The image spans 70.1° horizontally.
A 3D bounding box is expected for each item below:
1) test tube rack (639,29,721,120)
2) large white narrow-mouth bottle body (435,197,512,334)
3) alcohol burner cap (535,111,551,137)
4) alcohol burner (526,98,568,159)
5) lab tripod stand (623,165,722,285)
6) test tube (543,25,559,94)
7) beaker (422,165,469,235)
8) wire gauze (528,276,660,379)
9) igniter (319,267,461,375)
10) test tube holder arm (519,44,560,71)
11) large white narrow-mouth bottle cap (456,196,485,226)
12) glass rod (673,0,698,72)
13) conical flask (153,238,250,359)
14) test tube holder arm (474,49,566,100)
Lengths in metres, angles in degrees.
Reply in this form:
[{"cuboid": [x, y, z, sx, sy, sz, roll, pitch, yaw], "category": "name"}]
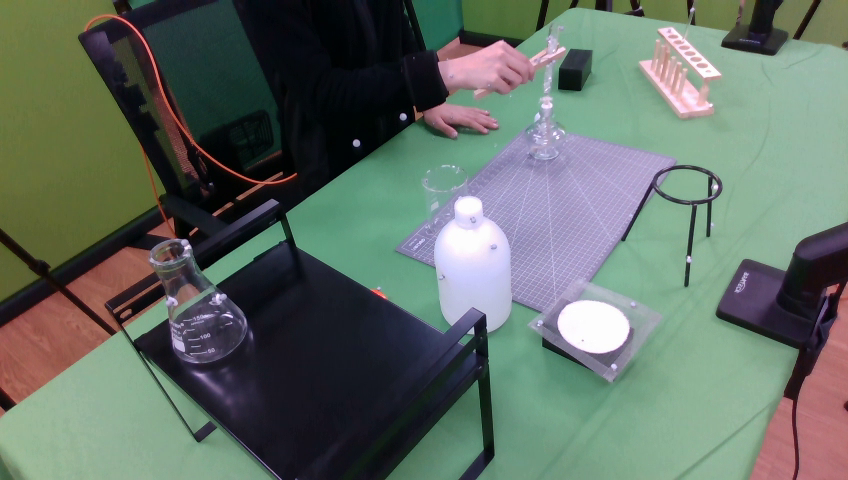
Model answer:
[{"cuboid": [0.527, -0.351, 1.262, 0.067, 0.085, 0.241, -8, 40, 1], "category": "test tube rack"}, {"cuboid": [0.066, 0.028, 0.805, 0.102, 0.195, 0.101, -4, 40, 4], "category": "large white narrow-mouth bottle body"}, {"cuboid": [0.235, -0.231, 1.197, 0.034, 0.048, 0.033, -6, 38, 5], "category": "alcohol burner cap"}, {"cuboid": [0.228, -0.210, 1.118, 0.078, 0.119, 0.077, -5, 43, 5], "category": "alcohol burner"}, {"cuboid": [0.365, -0.030, 0.874, 0.148, 0.132, 0.147, -6, 41, 6], "category": "lab tripod stand"}, {"cuboid": [0.211, -0.298, 1.008, 0.017, 0.151, 0.017, -3, 63, 6], "category": "test tube"}, {"cuboid": [0.041, -0.063, 0.986, 0.073, 0.101, 0.084, 20, 47, 29], "category": "beaker"}, {"cuboid": [0.213, 0.103, 0.763, 0.124, 0.011, 0.122, 30, 52, 35], "category": "wire gauze"}, {"cuboid": [-0.060, 0.108, 0.862, 0.274, 0.025, 0.057, 29, 63, 34], "category": "igniter"}, {"cuboid": [0.189, -0.295, 0.990, 0.088, 0.015, 0.010, -38, 64, -20], "category": "test tube holder arm"}, {"cuboid": [0.057, -0.036, 0.749, 0.038, 0.024, 0.037, -4, 40, 4], "category": "large white narrow-mouth bottle cap"}, {"cuboid": [0.537, -0.425, 1.244, 0.008, 0.200, 0.008, 0, 47, 0], "category": "glass rod"}, {"cuboid": [-0.225, 0.055, 0.597, 0.075, 0.122, 0.075, -5, 41, 5], "category": "conical flask"}, {"cuboid": [0.156, -0.268, 0.974, 0.179, 0.015, 0.013, -30, 61, -16], "category": "test tube holder arm"}]
